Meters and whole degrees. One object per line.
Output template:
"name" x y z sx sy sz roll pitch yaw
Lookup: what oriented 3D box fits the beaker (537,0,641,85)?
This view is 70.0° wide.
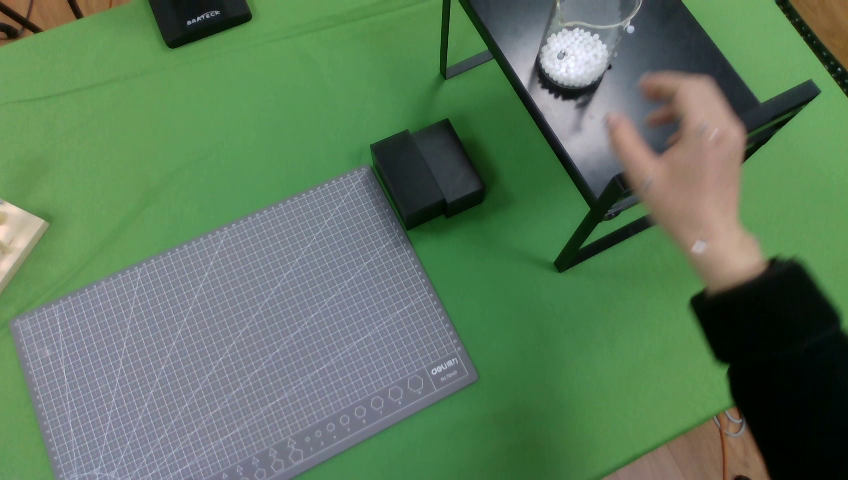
"beaker" 0.144 -0.196 0.556 0.084 0.101 0.073 -39 76 -12

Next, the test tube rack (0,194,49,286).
"test tube rack" -0.531 0.050 0.657 0.066 0.085 0.241 25 73 7
